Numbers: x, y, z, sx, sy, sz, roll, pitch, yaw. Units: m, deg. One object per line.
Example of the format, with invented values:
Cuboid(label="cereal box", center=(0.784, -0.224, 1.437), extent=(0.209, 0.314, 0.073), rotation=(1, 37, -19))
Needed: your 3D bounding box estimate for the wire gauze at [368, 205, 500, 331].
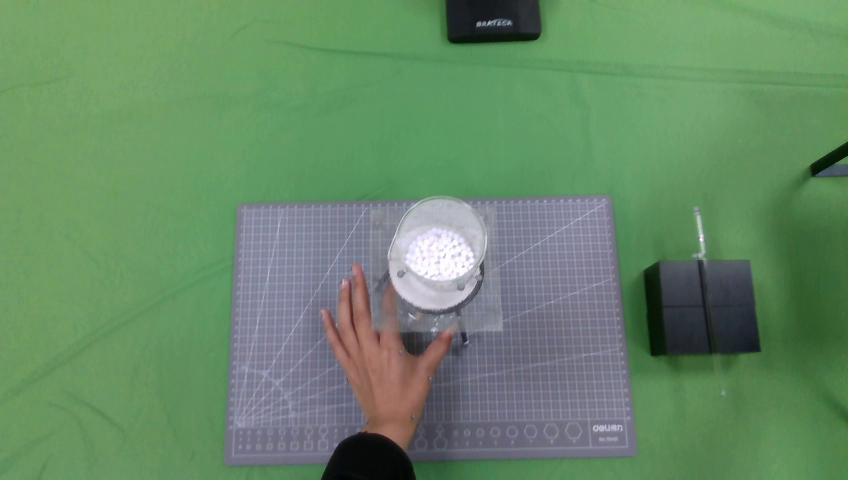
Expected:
Cuboid(label="wire gauze", center=(0.009, 0.026, 0.575), extent=(0.125, 0.011, 0.121), rotation=(0, 78, -2))

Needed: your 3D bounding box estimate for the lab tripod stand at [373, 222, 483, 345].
Cuboid(label="lab tripod stand", center=(0.013, 0.037, 0.640), extent=(0.148, 0.132, 0.147), rotation=(0, 75, 1))

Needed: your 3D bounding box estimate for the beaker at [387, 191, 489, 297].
Cuboid(label="beaker", center=(0.011, 0.010, 0.529), extent=(0.084, 0.100, 0.073), rotation=(-17, 77, -4))

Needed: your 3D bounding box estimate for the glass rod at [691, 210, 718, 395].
Cuboid(label="glass rod", center=(0.301, 0.064, 0.651), extent=(0.008, 0.008, 0.198), rotation=(-1, 77, 0))

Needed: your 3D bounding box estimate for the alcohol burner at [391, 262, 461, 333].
Cuboid(label="alcohol burner", center=(0.003, 0.059, 0.645), extent=(0.078, 0.119, 0.077), rotation=(0, 79, -1))
